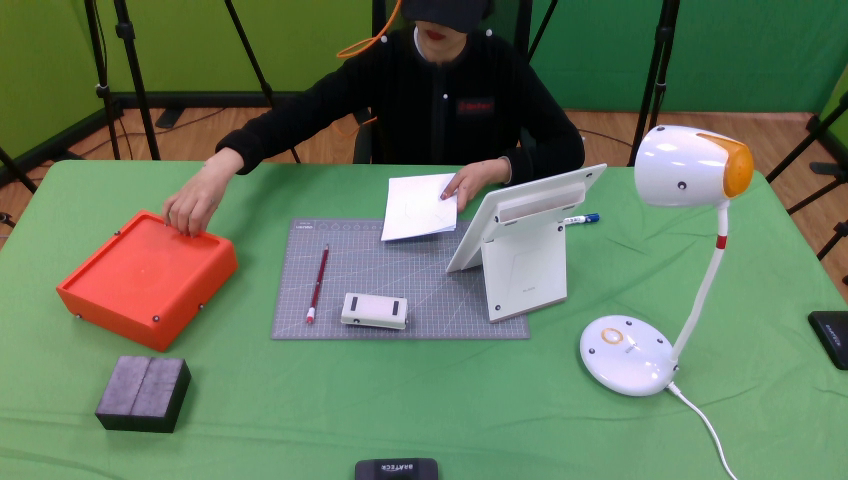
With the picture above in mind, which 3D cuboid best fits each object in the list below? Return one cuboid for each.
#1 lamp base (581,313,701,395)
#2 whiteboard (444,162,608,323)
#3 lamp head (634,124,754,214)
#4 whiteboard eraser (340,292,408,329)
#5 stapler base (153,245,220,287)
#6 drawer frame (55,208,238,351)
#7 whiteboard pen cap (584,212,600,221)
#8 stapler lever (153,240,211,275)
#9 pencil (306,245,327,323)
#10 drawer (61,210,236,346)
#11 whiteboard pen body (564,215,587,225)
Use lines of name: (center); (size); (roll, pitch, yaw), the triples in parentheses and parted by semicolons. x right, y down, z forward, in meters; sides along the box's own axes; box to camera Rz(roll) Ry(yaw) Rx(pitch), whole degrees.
lamp base: (0.361, 0.144, 0.973); (0.178, 0.181, 0.160); (34, 53, 23)
whiteboard: (0.186, 0.026, 1.028); (0.217, 0.306, 0.143); (-14, 68, -17)
lamp head: (0.351, -0.089, 0.776); (0.112, 0.113, 0.122); (-30, 30, -28)
whiteboard eraser: (-0.087, 0.125, 1.052); (0.113, 0.042, 0.055); (5, 45, 1)
stapler base: (-0.436, 0.043, 1.108); (0.130, 0.024, 0.041); (23, 50, 15)
drawer frame: (-0.474, 0.062, 1.059); (0.201, 0.083, 0.213); (18, 48, 12)
whiteboard pen cap: (0.351, -0.048, 1.271); (0.033, 0.018, 0.018); (-6, 47, -11)
stapler lever: (-0.436, 0.027, 1.090); (0.118, 0.040, 0.027); (25, 51, 14)
pencil: (-0.196, 0.076, 1.116); (0.012, 0.012, 0.193); (4, 44, 0)
drawer: (-0.474, 0.061, 1.062); (0.194, 0.073, 0.211); (19, 48, 13)
whiteboard pen body: (0.291, -0.040, 1.261); (0.141, 0.017, 0.017); (-6, 47, -11)
